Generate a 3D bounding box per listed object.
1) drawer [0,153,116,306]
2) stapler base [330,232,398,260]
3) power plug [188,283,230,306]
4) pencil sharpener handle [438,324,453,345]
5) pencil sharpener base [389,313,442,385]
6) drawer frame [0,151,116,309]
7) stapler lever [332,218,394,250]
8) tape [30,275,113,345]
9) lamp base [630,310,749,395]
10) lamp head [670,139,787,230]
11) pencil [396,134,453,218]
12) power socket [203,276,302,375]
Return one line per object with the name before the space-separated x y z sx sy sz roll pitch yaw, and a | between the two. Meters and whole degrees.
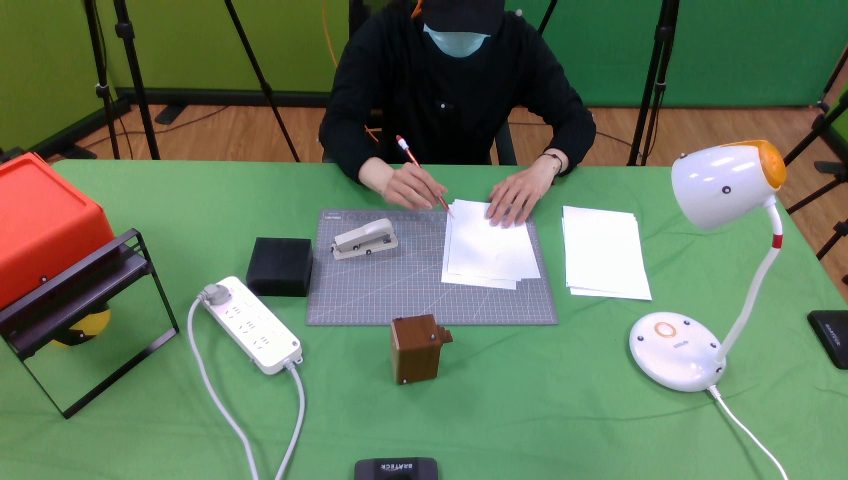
drawer | -0.601 -0.015 0.880 0.193 0.073 0.211 32 53 23
stapler base | -0.116 0.004 1.181 0.131 0.024 0.041 -13 48 -14
power plug | -0.368 0.099 1.037 0.072 0.053 0.035 -24 53 -25
pencil sharpener handle | 0.036 0.155 0.976 0.031 0.068 0.036 -8 70 -11
pencil sharpener base | -0.013 0.175 0.971 0.077 0.107 0.061 -8 47 -11
drawer frame | -0.604 -0.013 0.876 0.201 0.083 0.213 31 52 23
stapler lever | -0.116 -0.012 1.161 0.118 0.040 0.026 -13 48 -14
tape | -0.594 0.117 1.021 0.117 0.053 0.116 2 45 -2
lamp base | 0.447 0.142 0.984 0.161 0.181 0.178 -24 55 -24
lamp head | 0.415 -0.079 0.812 0.113 0.123 0.112 13 70 -37
pencil | 0.002 -0.120 1.139 0.012 0.012 0.193 -28 78 -27
power socket | -0.297 0.141 1.034 0.072 0.033 0.225 -34 58 -30
